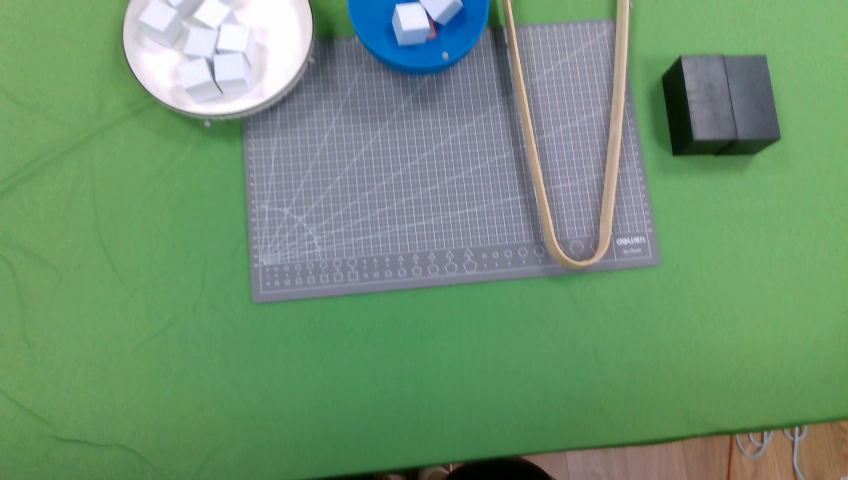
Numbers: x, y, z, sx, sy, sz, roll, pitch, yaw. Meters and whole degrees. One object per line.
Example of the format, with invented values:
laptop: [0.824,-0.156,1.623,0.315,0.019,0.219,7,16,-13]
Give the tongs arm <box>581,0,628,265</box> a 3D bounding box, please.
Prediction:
tongs arm: [0.212,-0.158,0.696,0.028,0.028,0.386,10,79,-9]

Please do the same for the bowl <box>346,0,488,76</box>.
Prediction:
bowl: [-0.009,-0.242,0.675,0.151,0.077,0.150,1,79,-4]

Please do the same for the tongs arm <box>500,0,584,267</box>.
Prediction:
tongs arm: [0.127,-0.159,0.688,0.051,0.026,0.383,-4,80,-8]

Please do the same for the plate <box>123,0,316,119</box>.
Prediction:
plate: [-0.223,-0.229,0.680,0.208,0.039,0.206,1,79,-2]
